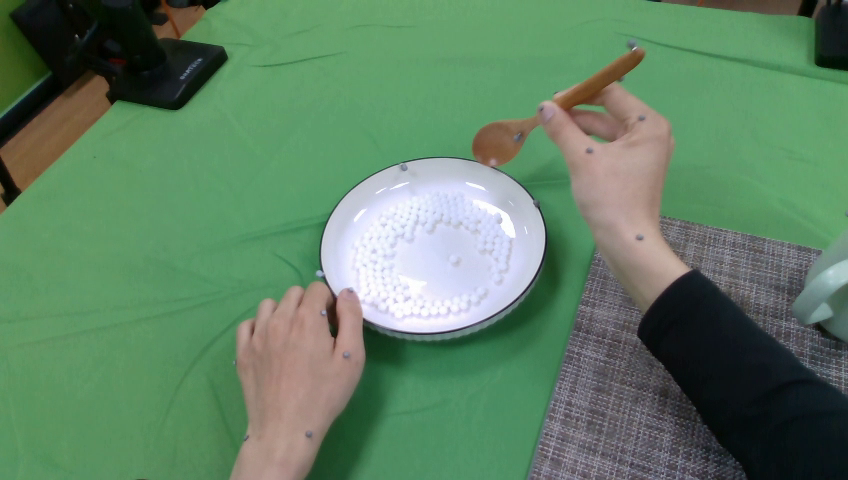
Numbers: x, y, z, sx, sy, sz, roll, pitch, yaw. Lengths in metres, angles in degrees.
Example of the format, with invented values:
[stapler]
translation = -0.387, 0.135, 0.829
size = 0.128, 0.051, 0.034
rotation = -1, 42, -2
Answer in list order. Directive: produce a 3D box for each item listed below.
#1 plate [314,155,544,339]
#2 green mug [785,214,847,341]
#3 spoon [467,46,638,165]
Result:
[plate]
translation = 0.005, 0.005, 0.562
size = 0.209, 0.038, 0.207
rotation = -3, 51, 4
[green mug]
translation = 0.333, 0.028, 0.457
size = 0.125, 0.106, 0.091
rotation = -20, 52, -9
[spoon]
translation = 0.099, -0.106, 0.503
size = 0.042, 0.193, 0.021
rotation = 51, 59, -10
